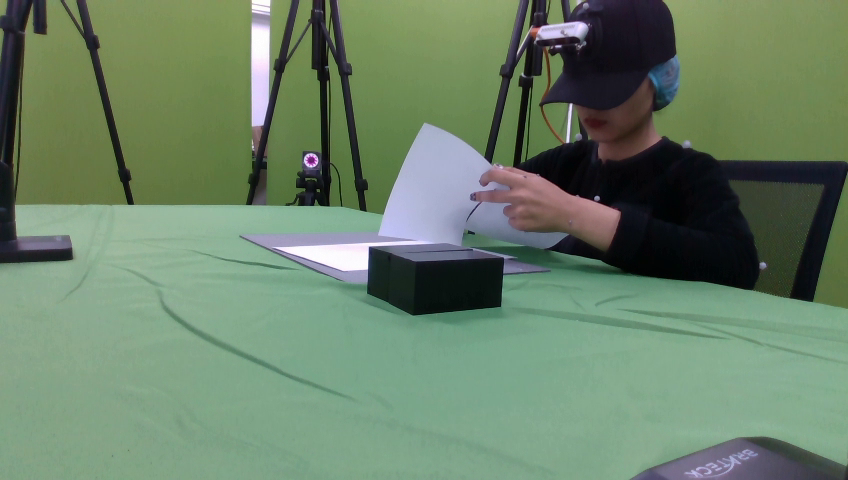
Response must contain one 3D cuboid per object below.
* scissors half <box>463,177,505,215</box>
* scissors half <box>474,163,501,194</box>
[{"bbox_3d":[0.096,-0.073,0.967,0.013,0.040,0.175,22,-18,-10],"label":"scissors half"},{"bbox_3d":[0.104,-0.095,0.968,0.013,0.040,0.175,17,15,-10],"label":"scissors half"}]
